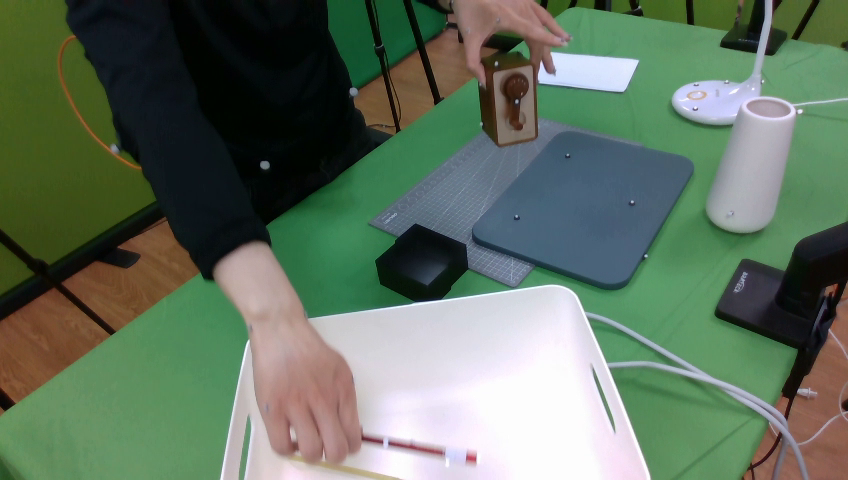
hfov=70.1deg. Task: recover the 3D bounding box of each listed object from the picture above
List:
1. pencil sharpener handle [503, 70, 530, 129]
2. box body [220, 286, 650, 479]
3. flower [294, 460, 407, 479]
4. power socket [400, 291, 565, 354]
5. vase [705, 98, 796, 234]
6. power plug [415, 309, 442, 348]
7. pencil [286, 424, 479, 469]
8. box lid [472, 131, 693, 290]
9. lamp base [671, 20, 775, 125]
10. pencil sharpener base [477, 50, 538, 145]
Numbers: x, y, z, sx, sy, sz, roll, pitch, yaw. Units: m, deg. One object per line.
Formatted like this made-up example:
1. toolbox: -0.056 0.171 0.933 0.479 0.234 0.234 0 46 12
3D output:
1. pencil sharpener handle: 0.119 -0.175 0.758 0.036 0.068 0.030 -6 30 -10
2. box body: 0.006 0.210 0.618 0.364 0.161 0.252 -8 40 -1
3. flower: 0.016 0.269 0.652 0.360 0.038 0.044 3 21 19
4. power socket: 0.079 0.111 0.823 0.227 0.033 0.072 -5 41 1
5. vase: 0.480 -0.104 0.889 0.098 0.201 0.097 -4 42 4
6. power plug: 0.004 0.121 0.786 0.035 0.053 0.072 4 45 8
7. pencil: -0.043 0.190 0.564 0.193 0.012 0.012 6 42 17
8. box lid: 0.273 -0.068 1.020 0.261 0.015 0.372 20 47 28
9. lamp base: 0.581 -0.332 1.154 0.179 0.181 0.160 2 42 7
10. pencil sharpener base: 0.113 -0.189 0.808 0.061 0.107 0.076 -12 31 -6
